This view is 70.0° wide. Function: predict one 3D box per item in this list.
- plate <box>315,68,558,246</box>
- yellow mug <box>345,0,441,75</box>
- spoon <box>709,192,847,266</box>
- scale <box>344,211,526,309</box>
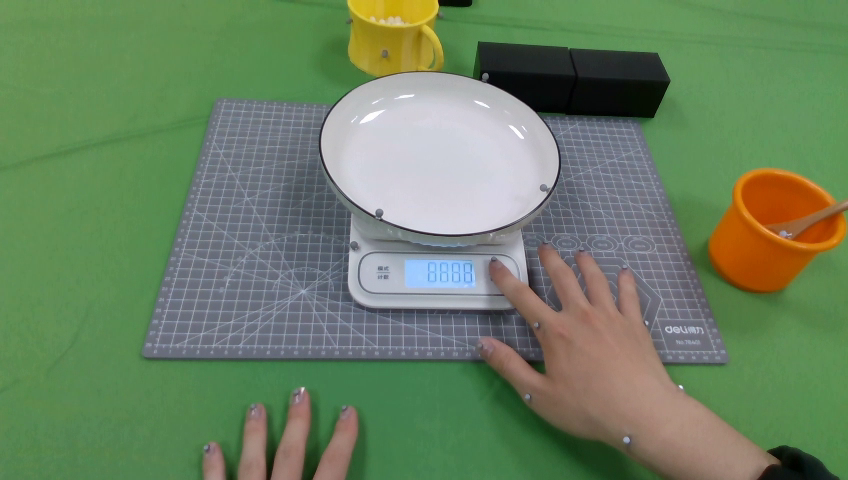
[{"bbox_3d":[0.010,-0.073,0.529,0.209,0.038,0.207,4,51,-5],"label":"plate"},{"bbox_3d":[-0.028,-0.232,0.677,0.130,0.064,0.100,40,58,23],"label":"yellow mug"},{"bbox_3d":[0.335,-0.026,0.499,0.022,0.193,0.041,31,41,-41],"label":"spoon"},{"bbox_3d":[0.008,-0.030,0.536,0.149,0.032,0.199,1,52,-5],"label":"scale"}]
